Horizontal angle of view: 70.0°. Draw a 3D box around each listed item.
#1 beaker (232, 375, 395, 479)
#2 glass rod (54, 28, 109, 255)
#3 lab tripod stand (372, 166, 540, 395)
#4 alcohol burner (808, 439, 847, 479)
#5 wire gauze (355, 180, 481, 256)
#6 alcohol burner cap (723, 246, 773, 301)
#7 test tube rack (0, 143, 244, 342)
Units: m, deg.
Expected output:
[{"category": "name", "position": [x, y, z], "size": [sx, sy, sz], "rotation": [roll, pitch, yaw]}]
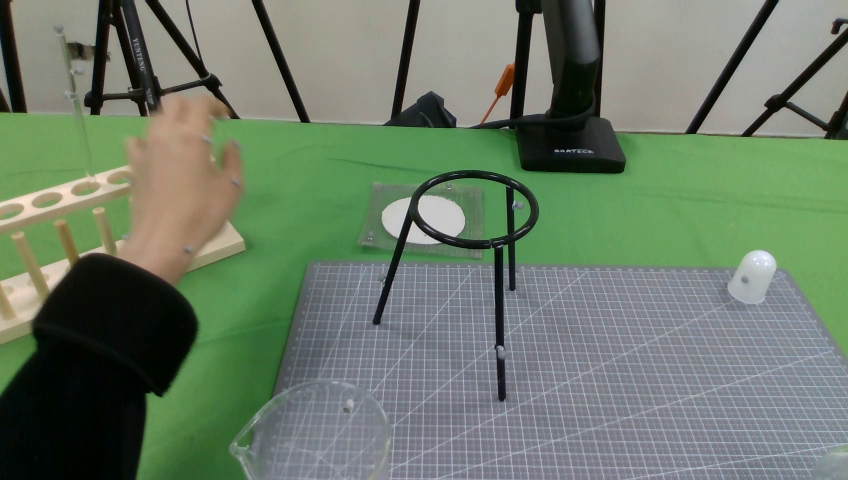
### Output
[{"category": "beaker", "position": [-0.057, 0.137, 0.340], "size": [0.084, 0.101, 0.073], "rotation": [-1, 39, -1]}, {"category": "glass rod", "position": [-0.280, -0.072, 0.503], "size": [0.008, 0.201, 0.008], "rotation": [4, 32, -2]}, {"category": "lab tripod stand", "position": [0.030, 0.023, 0.456], "size": [0.148, 0.132, 0.147], "rotation": [0, 40, 0]}, {"category": "alcohol burner", "position": [0.264, 0.137, 0.337], "size": [0.078, 0.120, 0.077], "rotation": [1, 37, 0]}, {"category": "wire gauze", "position": [-0.003, -0.028, 0.625], "size": [0.125, 0.011, 0.120], "rotation": [3, 38, 3]}, {"category": "alcohol burner cap", "position": [0.287, 0.027, 0.533], "size": [0.034, 0.048, 0.033], "rotation": [1, 39, -1]}, {"category": "test tube rack", "position": [-0.287, 0.001, 0.516], "size": [0.243, 0.086, 0.066], "rotation": [-24, 45, -28]}]
